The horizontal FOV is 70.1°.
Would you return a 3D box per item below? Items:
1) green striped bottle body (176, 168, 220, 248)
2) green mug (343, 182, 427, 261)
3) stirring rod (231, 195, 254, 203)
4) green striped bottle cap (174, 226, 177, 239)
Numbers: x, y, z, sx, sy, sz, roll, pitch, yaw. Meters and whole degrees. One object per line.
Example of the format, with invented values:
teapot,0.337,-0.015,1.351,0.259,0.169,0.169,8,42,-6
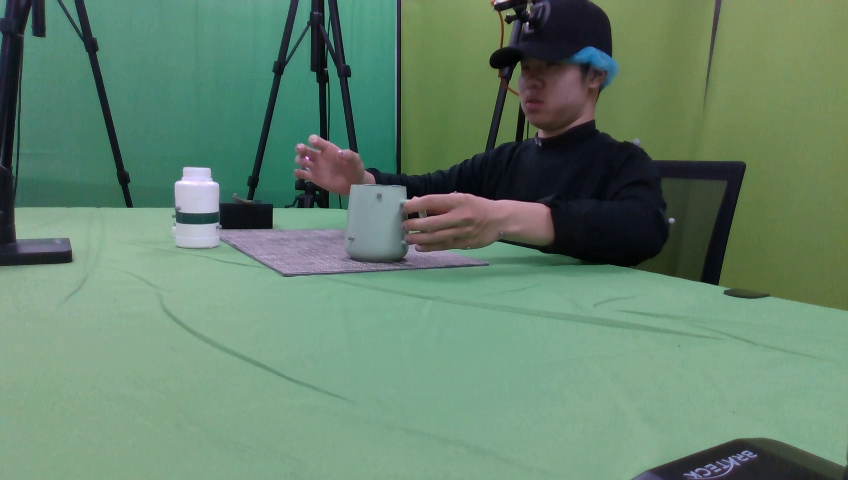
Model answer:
green striped bottle body,-0.345,-0.050,0.924,0.063,0.119,0.063,2,7,0
green mug,-0.052,-0.026,0.847,0.125,0.105,0.093,6,8,27
stirring rod,-0.372,-0.084,1.235,0.014,0.006,0.175,-1,8,-28
green striped bottle cap,-0.405,-0.015,1.036,0.044,0.020,0.044,-1,10,0
